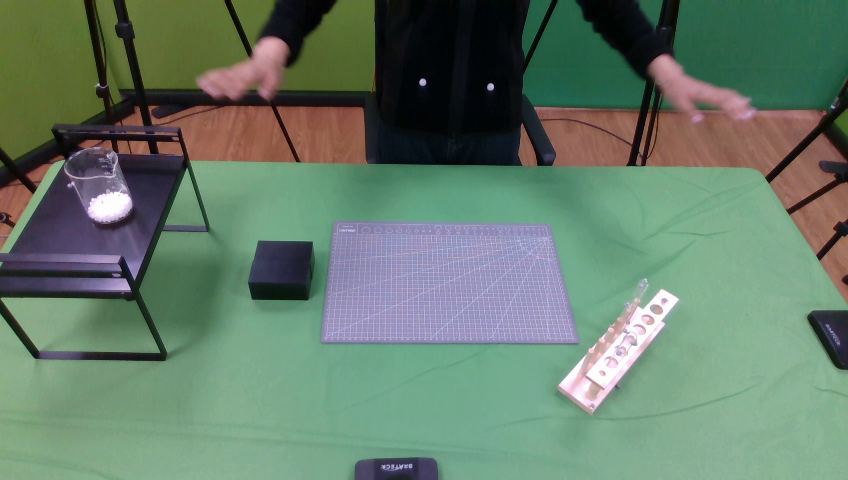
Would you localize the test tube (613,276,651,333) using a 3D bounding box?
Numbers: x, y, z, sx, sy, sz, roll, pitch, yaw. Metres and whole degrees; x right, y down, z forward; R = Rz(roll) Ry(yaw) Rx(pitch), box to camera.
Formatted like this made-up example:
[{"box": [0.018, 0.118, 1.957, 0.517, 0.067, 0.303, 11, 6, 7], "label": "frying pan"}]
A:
[{"box": [0.344, 0.109, 1.007, 0.017, 0.151, 0.017, 3, 49, -3], "label": "test tube"}]

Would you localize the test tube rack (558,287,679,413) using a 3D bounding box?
[{"box": [0.326, 0.170, 1.009, 0.066, 0.085, 0.242, 36, 54, 26], "label": "test tube rack"}]

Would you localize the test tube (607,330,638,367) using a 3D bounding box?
[{"box": [0.293, 0.184, 0.925, 0.017, 0.151, 0.017, 4, 49, -4], "label": "test tube"}]

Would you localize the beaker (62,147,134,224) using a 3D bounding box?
[{"box": [-0.495, -0.080, 0.933, 0.084, 0.101, 0.074, 23, 49, 16], "label": "beaker"}]
